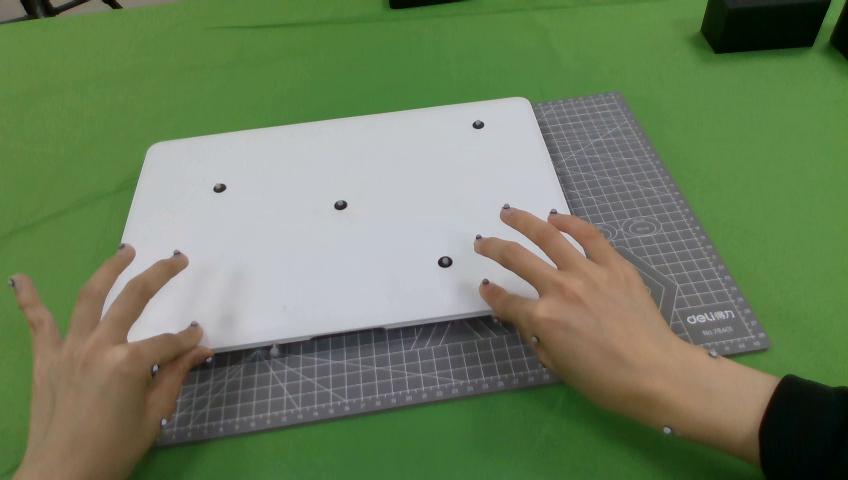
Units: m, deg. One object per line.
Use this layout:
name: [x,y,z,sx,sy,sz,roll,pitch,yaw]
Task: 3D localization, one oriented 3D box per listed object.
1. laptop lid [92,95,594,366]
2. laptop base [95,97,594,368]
laptop lid: [-0.066,-0.025,0.486,0.357,0.013,0.239,-6,50,0]
laptop base: [-0.065,-0.019,0.496,0.354,0.023,0.233,-8,52,-1]
